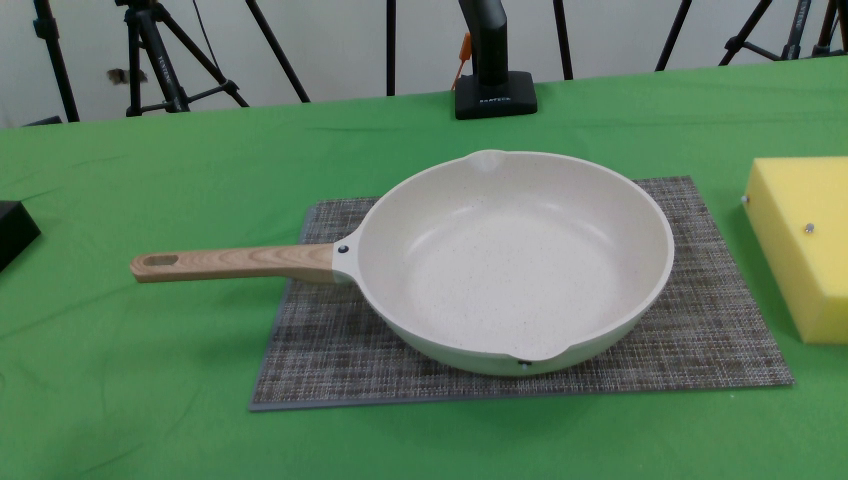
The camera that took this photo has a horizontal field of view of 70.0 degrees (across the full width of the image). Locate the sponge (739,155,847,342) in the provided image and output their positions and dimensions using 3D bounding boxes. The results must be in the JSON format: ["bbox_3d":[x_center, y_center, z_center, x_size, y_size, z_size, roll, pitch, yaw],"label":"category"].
[{"bbox_3d":[0.388,0.000,0.563,0.118,0.061,0.205,-1,39,9],"label":"sponge"}]

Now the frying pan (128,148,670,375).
[{"bbox_3d":[-0.026,0.016,0.575,0.488,0.103,0.303,0,38,-3],"label":"frying pan"}]
